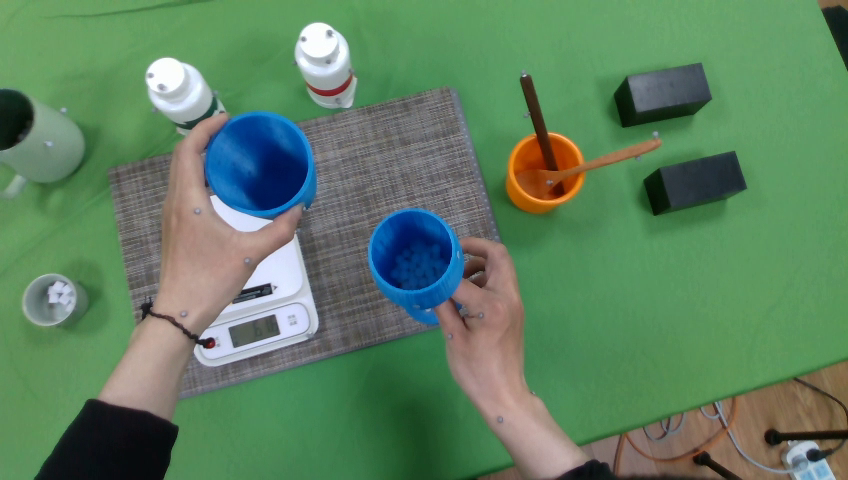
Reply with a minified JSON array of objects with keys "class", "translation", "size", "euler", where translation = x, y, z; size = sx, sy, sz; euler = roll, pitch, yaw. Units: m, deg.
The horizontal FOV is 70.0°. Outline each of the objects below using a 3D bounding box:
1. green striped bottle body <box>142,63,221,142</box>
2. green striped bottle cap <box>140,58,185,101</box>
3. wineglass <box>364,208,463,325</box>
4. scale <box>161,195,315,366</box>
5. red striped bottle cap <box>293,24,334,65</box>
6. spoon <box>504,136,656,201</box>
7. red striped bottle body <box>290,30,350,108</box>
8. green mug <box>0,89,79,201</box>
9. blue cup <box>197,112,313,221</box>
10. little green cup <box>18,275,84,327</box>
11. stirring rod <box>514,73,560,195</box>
[{"class":"green striped bottle body","translation":[-0.291,-0.167,0.725],"size":[0.063,0.119,0.063],"euler":[0,79,-2]},{"class":"green striped bottle cap","translation":[-0.289,-0.178,0.670],"size":[0.044,0.020,0.044],"euler":[0,80,0]},{"class":"wineglass","translation":[-0.003,0.029,0.504],"size":[0.073,0.173,0.073],"euler":[-1,76,5]},{"class":"scale","translation":[-0.225,0.039,0.732],"size":[0.149,0.031,0.200],"euler":[-16,81,-5]},{"class":"red striped bottle cap","translation":[-0.126,-0.222,0.686],"size":[0.044,0.018,0.044],"euler":[0,77,-1]},{"class":"spoon","translation":[0.178,-0.085,0.712],"size":[0.022,0.193,0.041],"euler":[-14,88,-48]},{"class":"red striped bottle body","translation":[-0.127,-0.212,0.739],"size":[0.063,0.120,0.063],"euler":[0,80,-2]},{"class":"green mug","translation":[-0.483,-0.106,0.715],"size":[0.092,0.105,0.125],"euler":[20,80,2]},{"class":"blue cup","translation":[-0.137,-0.055,0.533],"size":[0.093,0.100,0.092],"euler":[0,83,-3]},{"class":"little green cup","translation":[-0.438,0.074,0.718],"size":[0.061,0.039,0.061],"euler":[1,80,-3]},{"class":"stirring rod","translation":[0.135,-0.120,0.716],"size":[0.014,0.178,0.006],"euler":[-4,45,27]}]
